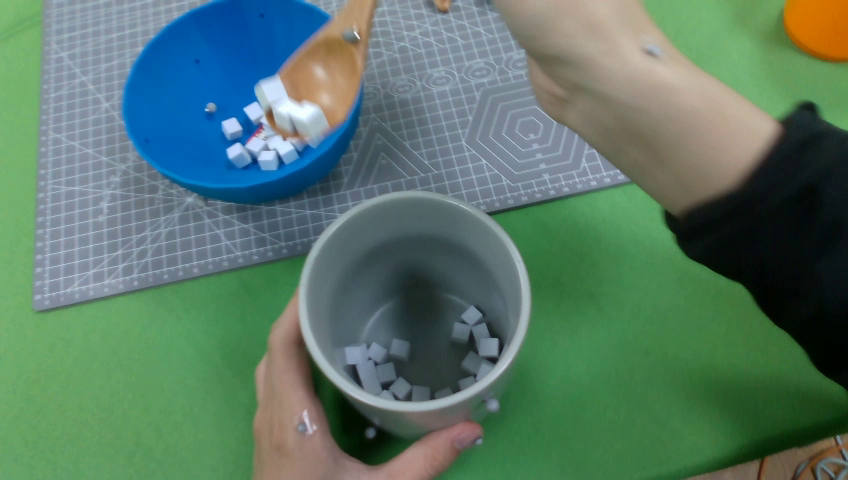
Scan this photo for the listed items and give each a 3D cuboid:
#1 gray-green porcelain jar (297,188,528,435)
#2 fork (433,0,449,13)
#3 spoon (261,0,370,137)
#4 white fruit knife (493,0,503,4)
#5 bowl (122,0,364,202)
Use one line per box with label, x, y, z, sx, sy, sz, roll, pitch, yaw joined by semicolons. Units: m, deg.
gray-green porcelain jar;-0.002;0.047;0.328;0.106;0.127;0.105;-1;66;3
fork;-0.011;-0.285;0.495;0.028;0.018;0.207;-15;85;-10
spoon;-0.016;-0.131;0.272;0.041;0.022;0.194;37;104;13
white fruit knife;0.037;-0.294;0.499;0.016;0.027;0.206;-13;80;-5
bowl;-0.111;-0.082;0.411;0.151;0.077;0.150;-1;66;2
